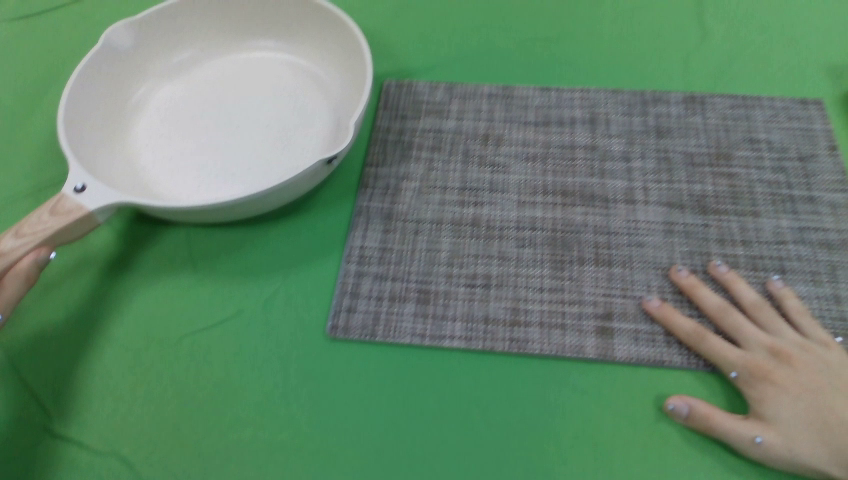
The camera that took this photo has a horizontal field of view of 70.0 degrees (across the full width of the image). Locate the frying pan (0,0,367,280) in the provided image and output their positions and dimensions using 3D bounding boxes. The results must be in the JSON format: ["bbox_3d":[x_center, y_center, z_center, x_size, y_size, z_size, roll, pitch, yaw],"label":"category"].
[{"bbox_3d":[-0.256,-0.069,0.538,0.305,0.103,0.486,29,54,20],"label":"frying pan"}]
